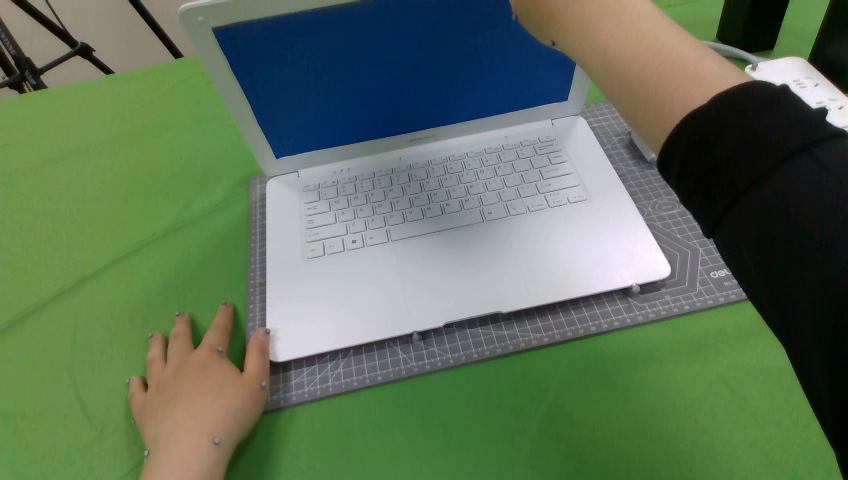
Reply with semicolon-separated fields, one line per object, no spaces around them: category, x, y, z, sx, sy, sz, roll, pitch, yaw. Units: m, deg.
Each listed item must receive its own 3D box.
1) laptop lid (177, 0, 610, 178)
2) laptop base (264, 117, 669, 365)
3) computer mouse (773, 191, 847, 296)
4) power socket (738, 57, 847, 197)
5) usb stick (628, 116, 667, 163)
laptop lid;-0.009;-0.151;0.560;0.357;0.243;0.013;-12;65;0
laptop base;0.021;-0.011;0.589;0.354;0.023;0.233;-12;50;-2
computer mouse;0.357;-0.003;0.512;0.063;0.041;0.116;-17;43;-4
power socket;0.401;-0.117;0.613;0.072;0.033;0.224;-12;47;0
usb stick;0.232;-0.110;0.635;0.021;0.027;0.058;-15;46;0
